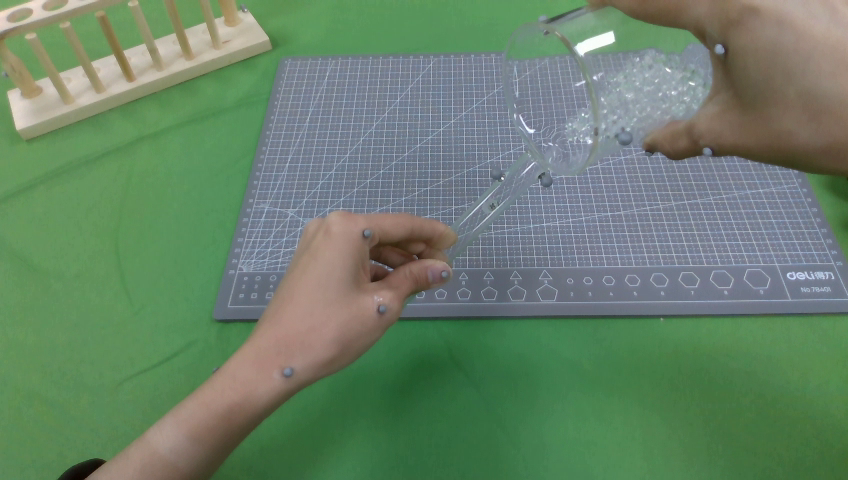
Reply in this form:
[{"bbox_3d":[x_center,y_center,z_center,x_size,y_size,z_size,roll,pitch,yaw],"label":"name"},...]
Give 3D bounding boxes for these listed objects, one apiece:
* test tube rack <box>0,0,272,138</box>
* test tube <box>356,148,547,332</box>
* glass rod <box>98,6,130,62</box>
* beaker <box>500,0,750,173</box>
[{"bbox_3d":[-0.276,-0.190,0.567,0.242,0.086,0.066,-26,56,-16],"label":"test tube rack"},{"bbox_3d":[0.011,0.004,0.347,0.150,0.017,0.017,-45,52,21],"label":"test tube"},{"bbox_3d":[-0.290,-0.230,0.514,0.008,0.201,0.008,1,55,-1],"label":"glass rod"},{"bbox_3d":[0.100,-0.084,0.302,0.100,0.084,0.073,-24,59,-16],"label":"beaker"}]
